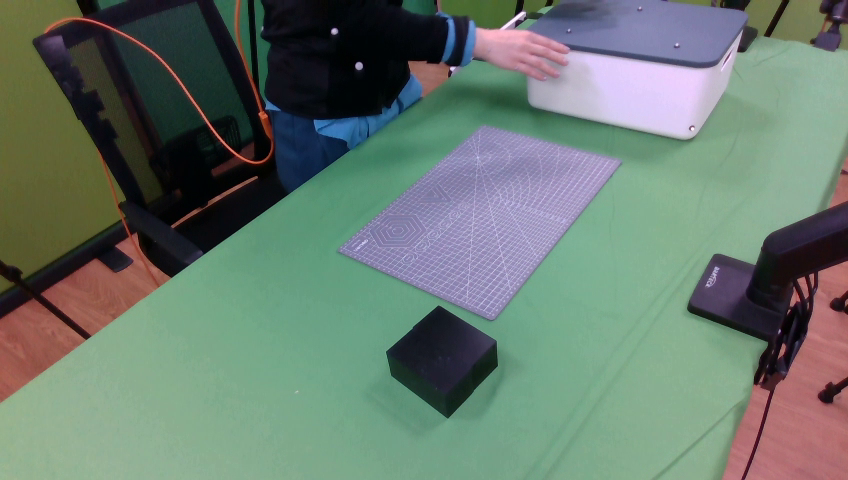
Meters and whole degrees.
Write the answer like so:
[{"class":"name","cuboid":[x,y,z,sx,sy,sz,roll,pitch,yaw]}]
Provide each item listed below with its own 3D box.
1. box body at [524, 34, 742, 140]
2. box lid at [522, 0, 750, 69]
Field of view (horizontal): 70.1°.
[{"class":"box body","cuboid":[0.412,-0.354,1.212,0.361,0.161,0.254,20,48,29]},{"class":"box lid","cuboid":[0.405,-0.409,1.163,0.369,0.015,0.264,20,47,29]}]
